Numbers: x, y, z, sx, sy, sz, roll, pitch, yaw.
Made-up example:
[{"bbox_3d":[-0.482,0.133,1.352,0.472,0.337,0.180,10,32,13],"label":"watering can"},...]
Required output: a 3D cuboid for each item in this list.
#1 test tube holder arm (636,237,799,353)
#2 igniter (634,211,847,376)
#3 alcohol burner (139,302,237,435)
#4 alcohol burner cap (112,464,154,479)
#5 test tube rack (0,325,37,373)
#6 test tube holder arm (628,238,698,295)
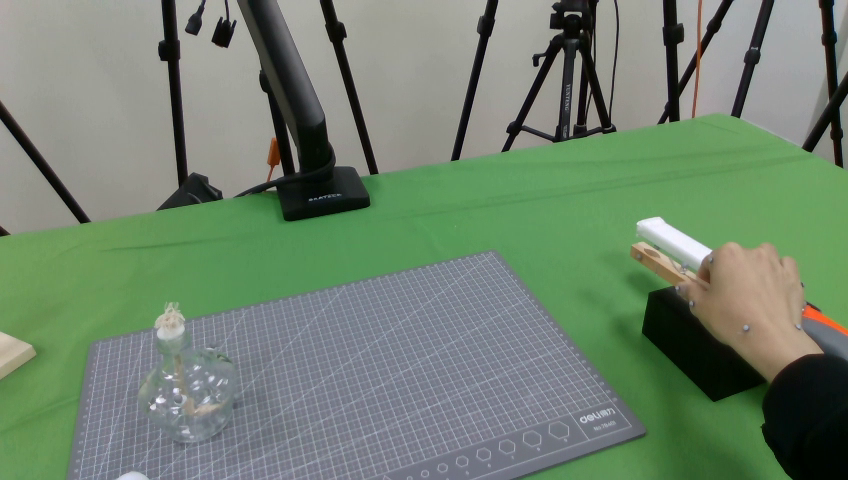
[{"bbox_3d":[0.251,0.042,0.537,0.013,0.015,0.176,-22,36,-17],"label":"test tube holder arm"},{"bbox_3d":[0.293,0.037,0.563,0.057,0.025,0.273,-13,31,-16],"label":"igniter"},{"bbox_3d":[-0.196,0.101,0.496,0.078,0.120,0.077,-2,31,1],"label":"alcohol burner"},{"bbox_3d":[-0.209,0.183,0.437,0.034,0.048,0.033,-1,33,1],"label":"alcohol burner cap"},{"bbox_3d":[-0.472,0.126,0.506,0.066,0.086,0.241,14,36,23],"label":"test tube rack"},{"bbox_3d":[0.226,0.024,0.570,0.010,0.015,0.087,-22,36,-17],"label":"test tube holder arm"}]
